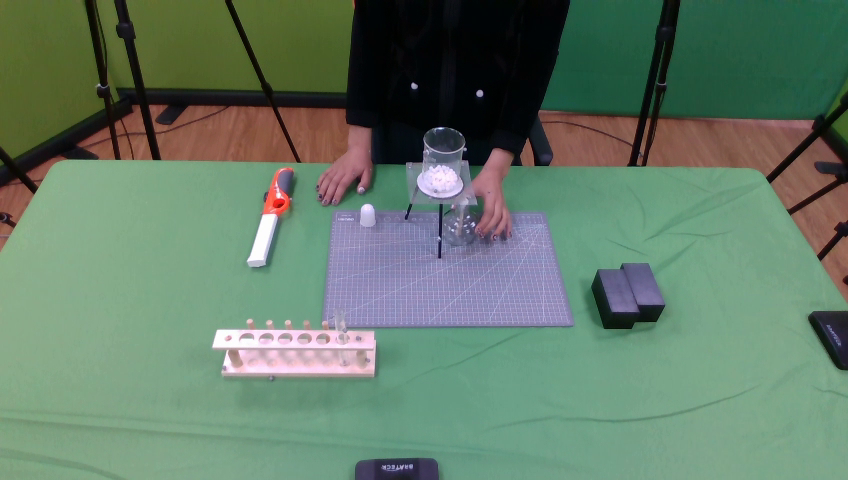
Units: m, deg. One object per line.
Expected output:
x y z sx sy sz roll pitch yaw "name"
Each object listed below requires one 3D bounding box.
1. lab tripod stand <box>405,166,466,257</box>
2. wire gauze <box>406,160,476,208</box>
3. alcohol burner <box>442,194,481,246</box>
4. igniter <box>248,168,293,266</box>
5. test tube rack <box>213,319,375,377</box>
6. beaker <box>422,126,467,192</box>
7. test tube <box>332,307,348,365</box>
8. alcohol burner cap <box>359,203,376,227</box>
0.030 -0.063 1.180 0.148 0.132 0.147 3 47 -3 "lab tripod stand"
0.031 -0.107 1.131 0.125 0.011 0.120 1 48 -7 "wire gauze"
0.074 -0.046 1.180 0.078 0.120 0.077 1 48 -1 "alcohol burner"
-0.307 -0.055 1.225 0.057 0.025 0.275 -3 45 6 "igniter"
-0.202 0.170 0.977 0.242 0.085 0.066 1 46 -3 "test tube rack"
0.032 -0.146 1.100 0.074 0.101 0.083 -16 50 -20 "beaker"
-0.128 0.151 0.931 0.017 0.151 0.017 2 50 -2 "test tube"
-0.115 -0.053 1.224 0.034 0.048 0.033 3 47 -3 "alcohol burner cap"
